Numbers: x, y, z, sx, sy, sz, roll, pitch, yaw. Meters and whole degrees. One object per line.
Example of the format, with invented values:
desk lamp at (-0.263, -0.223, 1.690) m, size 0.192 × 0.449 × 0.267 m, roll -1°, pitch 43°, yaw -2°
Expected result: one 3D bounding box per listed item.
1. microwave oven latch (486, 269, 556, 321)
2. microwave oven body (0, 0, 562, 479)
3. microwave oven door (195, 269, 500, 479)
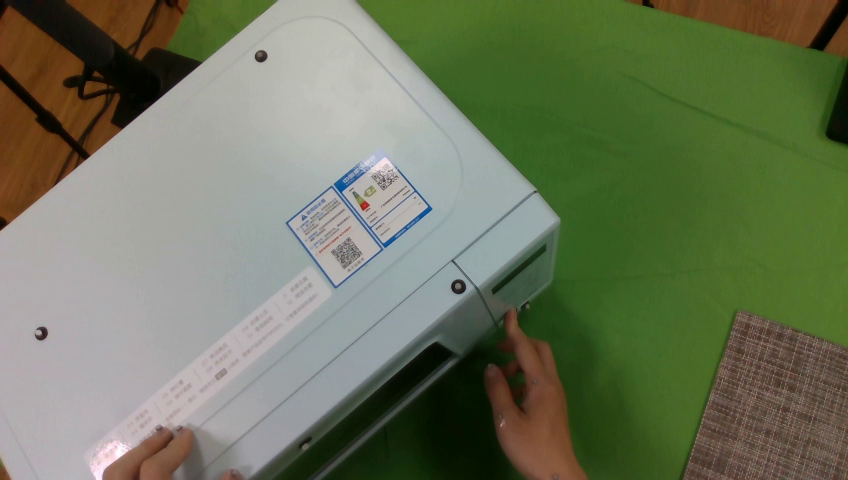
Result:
microwave oven latch at (0.101, 0.050, 0.634) m, size 0.079 × 0.030 × 0.030 m, roll -38°, pitch 73°, yaw 0°
microwave oven body at (-0.143, 0.034, 0.582) m, size 0.441 × 0.262 × 0.324 m, roll -40°, pitch 73°, yaw -1°
microwave oven door at (-0.086, 0.165, 0.533) m, size 0.356 × 0.245 × 0.039 m, roll -40°, pitch 72°, yaw -1°
